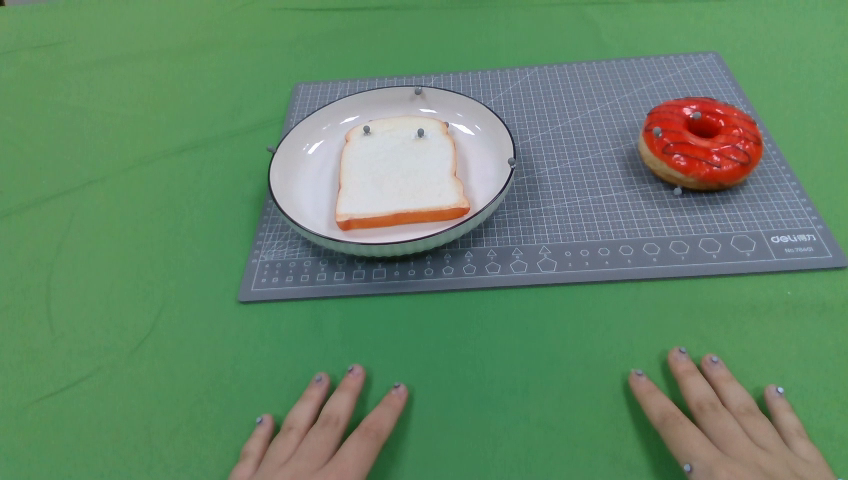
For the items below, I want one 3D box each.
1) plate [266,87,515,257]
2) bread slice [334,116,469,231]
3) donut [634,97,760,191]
[{"bbox_3d":[-0.027,-0.059,0.519,0.209,0.038,0.207,-3,47,3],"label":"plate"},{"bbox_3d":[-0.025,-0.061,0.523,0.107,0.018,0.133,-8,47,-3],"label":"bread slice"},{"bbox_3d":[0.227,-0.080,0.506,0.099,0.049,0.098,-2,48,2],"label":"donut"}]
